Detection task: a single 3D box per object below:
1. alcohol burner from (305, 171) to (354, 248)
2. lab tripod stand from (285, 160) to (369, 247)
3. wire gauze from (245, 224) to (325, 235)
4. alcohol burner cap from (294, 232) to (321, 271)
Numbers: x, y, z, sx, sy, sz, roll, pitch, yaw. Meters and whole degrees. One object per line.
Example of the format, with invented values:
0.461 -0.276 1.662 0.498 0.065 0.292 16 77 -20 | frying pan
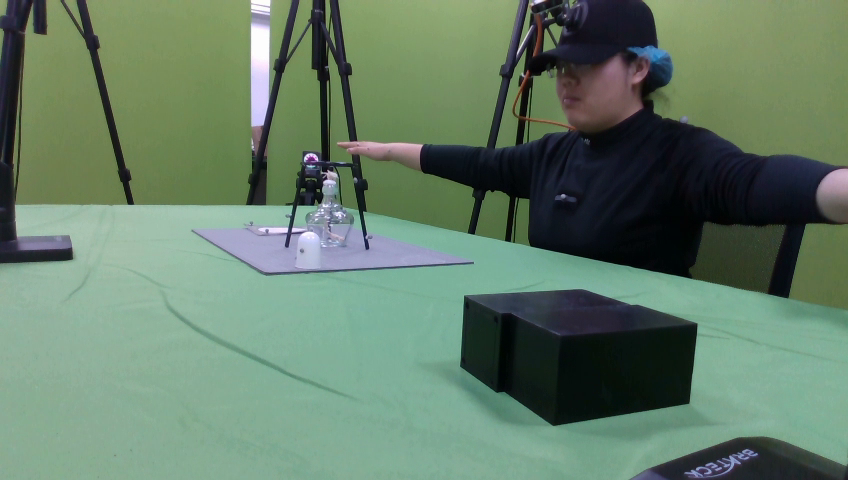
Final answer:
-0.148 -0.048 0.949 0.078 0.119 0.078 1 6 0 | alcohol burner
-0.151 -0.058 0.947 0.148 0.131 0.148 1 6 0 | lab tripod stand
-0.256 -0.020 1.108 0.122 0.011 0.124 -1 6 -28 | wire gauze
-0.144 0.013 0.748 0.034 0.048 0.034 2 6 0 | alcohol burner cap
